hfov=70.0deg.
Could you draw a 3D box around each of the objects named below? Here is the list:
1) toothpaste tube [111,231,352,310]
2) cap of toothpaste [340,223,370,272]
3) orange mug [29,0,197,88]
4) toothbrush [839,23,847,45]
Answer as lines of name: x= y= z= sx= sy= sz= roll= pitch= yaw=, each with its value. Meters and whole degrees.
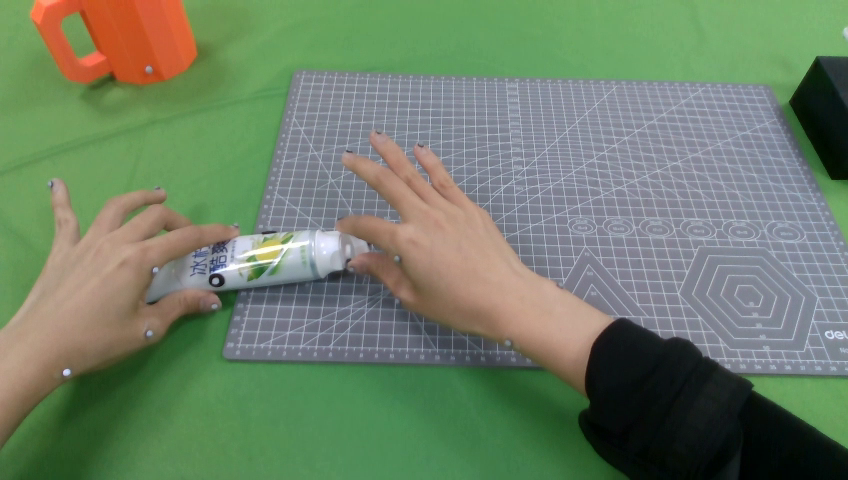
toothpaste tube: x=-0.133 y=0.015 z=0.425 sx=0.165 sy=0.035 sz=0.054 roll=-6 pitch=51 yaw=-1
cap of toothpaste: x=-0.049 y=0.006 z=0.426 sx=0.011 sy=0.037 sz=0.037 roll=-19 pitch=55 yaw=-22
orange mug: x=-0.275 y=-0.194 z=0.539 sx=0.083 sy=0.101 sz=0.126 roll=37 pitch=56 yaw=24
toothbrush: x=0.382 y=-0.121 z=0.490 sx=0.014 sy=0.017 sz=0.180 roll=2 pitch=53 yaw=-5
